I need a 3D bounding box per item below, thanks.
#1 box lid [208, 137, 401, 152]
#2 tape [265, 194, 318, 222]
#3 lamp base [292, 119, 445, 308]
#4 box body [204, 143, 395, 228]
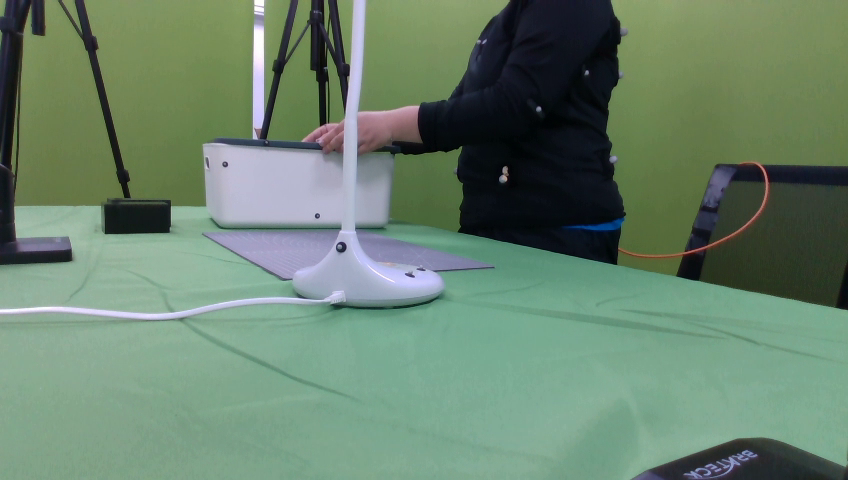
[{"bbox_3d":[-0.259,-0.200,1.281,0.373,0.015,0.262,-1,8,-23],"label":"box lid"},{"bbox_3d":[-0.284,-0.069,1.298,0.117,0.052,0.117,3,7,0],"label":"tape"},{"bbox_3d":[-0.056,-0.030,0.616,0.160,0.180,0.179,4,10,8],"label":"lamp base"},{"bbox_3d":[-0.271,-0.117,1.291,0.366,0.160,0.253,-1,8,-25],"label":"box body"}]
